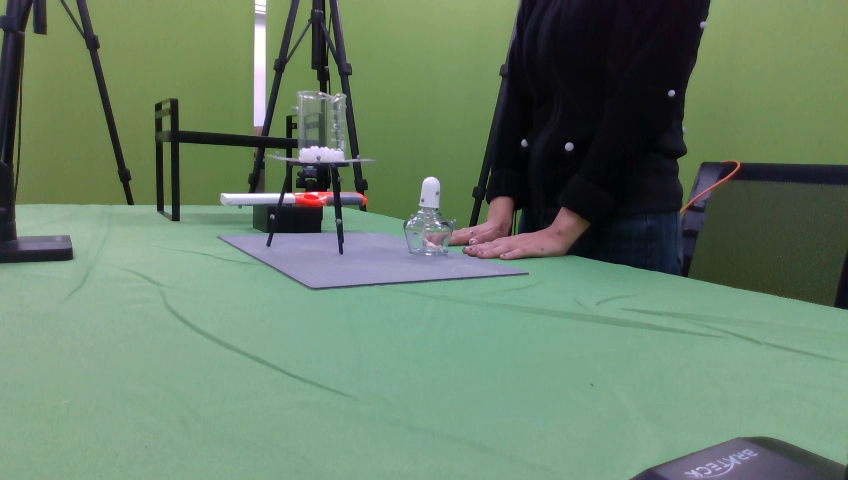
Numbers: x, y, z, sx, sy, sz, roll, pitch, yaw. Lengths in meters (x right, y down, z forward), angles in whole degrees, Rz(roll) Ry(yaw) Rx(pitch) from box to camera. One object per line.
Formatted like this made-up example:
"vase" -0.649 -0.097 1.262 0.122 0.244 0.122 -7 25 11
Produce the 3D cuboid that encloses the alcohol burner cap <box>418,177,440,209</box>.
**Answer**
"alcohol burner cap" 0.009 -0.071 0.909 0.034 0.048 0.034 4 8 0

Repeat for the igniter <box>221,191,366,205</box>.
"igniter" -0.240 -0.079 1.150 0.278 0.025 0.057 -3 20 -32

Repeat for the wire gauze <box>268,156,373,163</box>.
"wire gauze" -0.154 -0.119 0.910 0.122 0.011 0.124 -4 8 -45

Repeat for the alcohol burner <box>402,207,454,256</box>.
"alcohol burner" 0.007 -0.036 0.915 0.078 0.119 0.078 4 6 0

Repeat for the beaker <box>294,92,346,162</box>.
"beaker" -0.152 -0.165 0.896 0.074 0.100 0.083 -4 10 -33

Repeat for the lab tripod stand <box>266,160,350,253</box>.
"lab tripod stand" -0.163 -0.054 0.914 0.148 0.131 0.148 2 9 0
